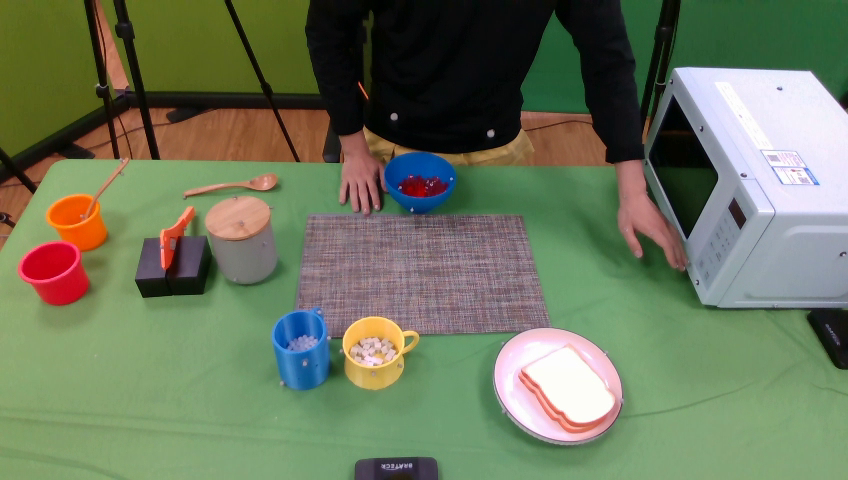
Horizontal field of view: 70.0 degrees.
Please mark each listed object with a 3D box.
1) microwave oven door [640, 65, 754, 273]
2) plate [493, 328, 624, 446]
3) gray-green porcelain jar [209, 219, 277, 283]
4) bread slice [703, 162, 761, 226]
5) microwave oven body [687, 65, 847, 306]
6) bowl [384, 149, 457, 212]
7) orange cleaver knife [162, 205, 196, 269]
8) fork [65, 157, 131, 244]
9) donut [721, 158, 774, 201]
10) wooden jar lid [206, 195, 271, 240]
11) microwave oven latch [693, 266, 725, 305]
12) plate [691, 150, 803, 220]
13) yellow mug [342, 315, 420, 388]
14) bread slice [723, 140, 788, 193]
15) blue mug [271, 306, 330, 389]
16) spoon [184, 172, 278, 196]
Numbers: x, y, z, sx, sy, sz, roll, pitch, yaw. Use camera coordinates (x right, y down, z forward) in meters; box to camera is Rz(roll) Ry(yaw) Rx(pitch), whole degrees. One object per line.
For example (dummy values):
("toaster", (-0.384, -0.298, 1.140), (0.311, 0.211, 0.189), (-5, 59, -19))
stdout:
("microwave oven door", (0.522, -0.147, 1.193), (0.039, 0.245, 0.353), (0, 47, -3))
("plate", (0.213, 0.236, 0.974), (0.208, 0.039, 0.206), (2, 46, -2))
("gray-green porcelain jar", (-0.323, 0.007, 1.092), (0.106, 0.127, 0.105), (2, 46, -2))
("bread slice", (0.648, -0.102, 1.267), (0.105, 0.019, 0.131), (14, 72, 11))
("microwave oven body", (0.669, -0.111, 1.176), (0.326, 0.261, 0.439), (0, 46, -3))
("bowl", (-0.009, -0.112, 1.262), (0.151, 0.077, 0.150), (2, 46, -2))
("orange cleaver knife", (-0.454, -0.010, 1.129), (0.012, 0.077, 0.210), (-2, 20, -5))
("fork", (-0.608, -0.074, 1.133), (0.207, 0.019, 0.028), (-52, 50, 10))
("donut", (0.648, -0.122, 1.215), (0.099, 0.048, 0.098), (-3, 56, 4))
("wooden jar lid", (-0.319, -0.036, 1.046), (0.108, 0.021, 0.107), (1, 44, 0))
("microwave oven latch", (0.523, 0.082, 1.115), (0.030, 0.029, 0.078), (3, 46, 0))
("plate", (0.652, -0.108, 1.237), (0.209, 0.038, 0.208), (-1, 45, 1))
("yellow mug", (-0.068, 0.177, 0.990), (0.131, 0.064, 0.099), (-16, 50, -19))
("bread slice", (0.661, -0.147, 1.201), (0.107, 0.018, 0.133), (0, 53, 9))
("blue mug", (-0.188, 0.163, 0.969), (0.082, 0.106, 0.116), (15, 47, 10))
("spoon", (-0.405, -0.116, 1.275), (0.194, 0.022, 0.041), (-8, 66, -12))
